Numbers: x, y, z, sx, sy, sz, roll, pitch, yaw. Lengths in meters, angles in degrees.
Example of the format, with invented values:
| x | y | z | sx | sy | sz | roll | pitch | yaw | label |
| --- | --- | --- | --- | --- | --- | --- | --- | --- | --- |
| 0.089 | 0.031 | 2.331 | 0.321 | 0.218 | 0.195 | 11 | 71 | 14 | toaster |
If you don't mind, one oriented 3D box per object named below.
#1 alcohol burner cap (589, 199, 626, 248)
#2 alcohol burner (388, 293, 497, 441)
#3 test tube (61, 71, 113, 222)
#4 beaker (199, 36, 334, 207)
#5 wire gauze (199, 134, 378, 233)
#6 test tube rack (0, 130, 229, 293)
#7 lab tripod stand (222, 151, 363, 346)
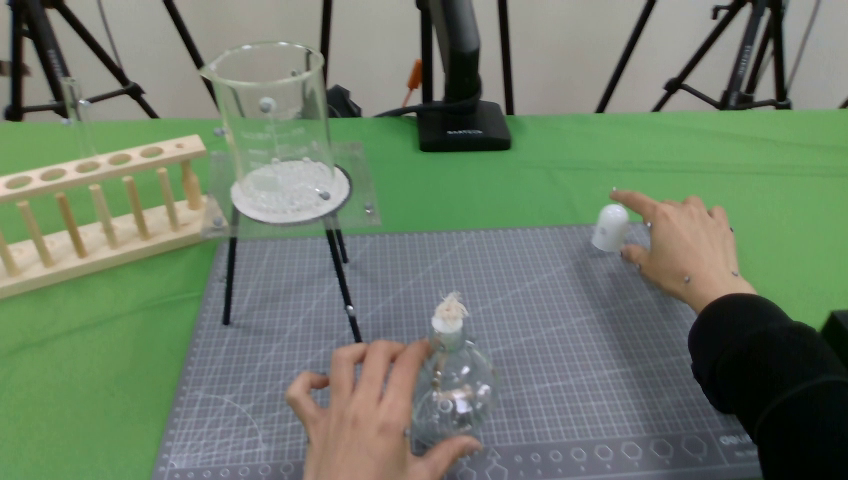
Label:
| x | y | z | sx | sy | sz | roll | pitch | yaw | label |
| --- | --- | --- | --- | --- | --- | --- | --- | --- | --- |
| 0.187 | -0.020 | 0.614 | 0.034 | 0.048 | 0.033 | 1 | 38 | 0 | alcohol burner cap |
| 0.014 | 0.084 | 0.422 | 0.078 | 0.120 | 0.077 | 1 | 37 | -1 | alcohol burner |
| -0.314 | -0.082 | 0.568 | 0.017 | 0.151 | 0.017 | 4 | 32 | -2 | test tube |
| -0.105 | -0.080 | 0.425 | 0.084 | 0.101 | 0.073 | -1 | 38 | -1 | beaker |
| -0.103 | -0.044 | 0.458 | 0.125 | 0.011 | 0.120 | -8 | 37 | -7 | wire gauze |
| -0.324 | -0.028 | 0.580 | 0.243 | 0.086 | 0.066 | -18 | 42 | -23 | test tube rack |
| -0.103 | 0.007 | 0.500 | 0.148 | 0.132 | 0.147 | 0 | 41 | 0 | lab tripod stand |
